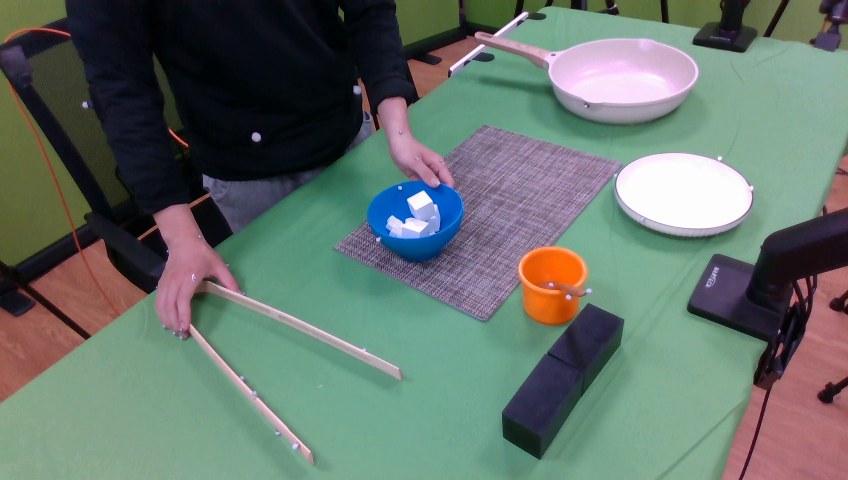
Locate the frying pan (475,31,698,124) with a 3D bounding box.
[{"bbox_3d":[0.320,-0.371,1.290,0.485,0.103,0.307,28,50,23],"label":"frying pan"}]

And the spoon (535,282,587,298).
[{"bbox_3d":[0.176,0.063,0.774,0.041,0.194,0.021,-3,85,1],"label":"spoon"}]

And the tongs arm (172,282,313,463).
[{"bbox_3d":[-0.246,0.160,0.806,0.381,0.026,0.051,29,52,36],"label":"tongs arm"}]

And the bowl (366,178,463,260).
[{"bbox_3d":[-0.011,-0.021,0.945,0.151,0.077,0.150,-4,41,4],"label":"bowl"}]

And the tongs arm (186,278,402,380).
[{"bbox_3d":[-0.194,0.119,0.852,0.385,0.028,0.028,18,50,27],"label":"tongs arm"}]

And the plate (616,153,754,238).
[{"bbox_3d":[0.416,-0.069,0.977,0.207,0.039,0.206,-4,40,4],"label":"plate"}]
